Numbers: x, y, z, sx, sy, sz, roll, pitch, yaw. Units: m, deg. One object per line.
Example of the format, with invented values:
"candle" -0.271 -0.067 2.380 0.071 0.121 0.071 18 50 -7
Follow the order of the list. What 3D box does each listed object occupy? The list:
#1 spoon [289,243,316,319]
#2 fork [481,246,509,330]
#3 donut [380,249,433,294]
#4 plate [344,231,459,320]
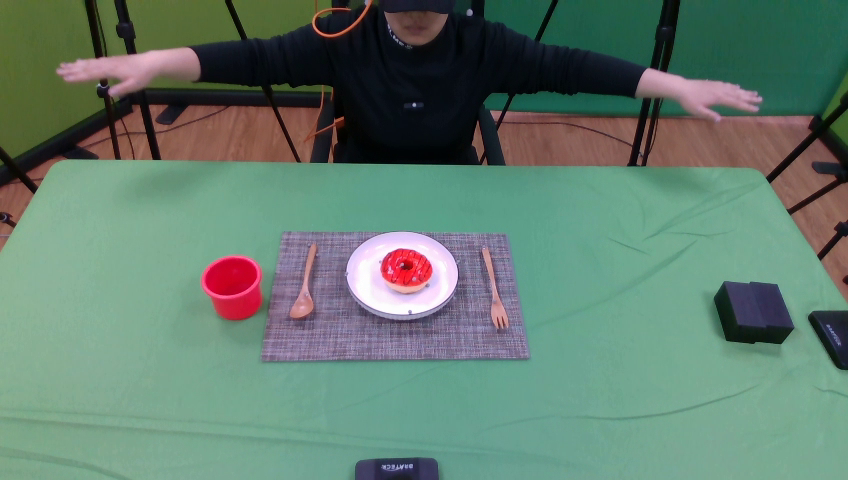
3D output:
"spoon" -0.215 0.071 1.108 0.041 0.022 0.192 -10 45 10
"fork" 0.128 0.084 1.125 0.028 0.019 0.206 -7 48 -1
"donut" -0.032 0.056 1.111 0.099 0.048 0.098 4 43 -3
"plate" -0.042 0.068 1.115 0.209 0.038 0.208 2 46 -2
